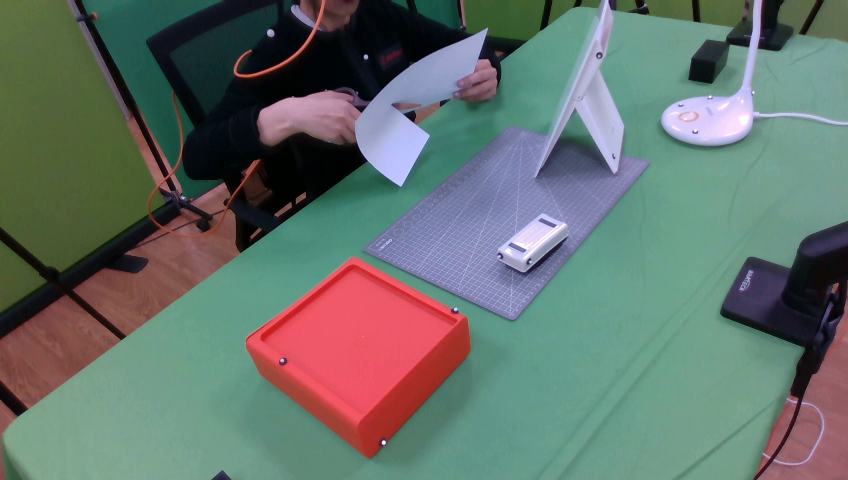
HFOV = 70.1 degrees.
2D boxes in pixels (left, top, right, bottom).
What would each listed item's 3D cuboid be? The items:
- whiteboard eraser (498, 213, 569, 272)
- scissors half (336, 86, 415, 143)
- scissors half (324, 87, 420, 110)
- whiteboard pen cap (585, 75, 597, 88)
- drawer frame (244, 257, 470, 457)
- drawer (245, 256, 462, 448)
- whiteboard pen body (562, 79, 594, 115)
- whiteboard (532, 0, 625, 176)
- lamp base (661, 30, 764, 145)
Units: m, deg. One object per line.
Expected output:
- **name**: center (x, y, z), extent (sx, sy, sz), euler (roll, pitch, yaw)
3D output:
- **whiteboard eraser**: center (0.168, 0.006, 0.923), extent (0.113, 0.042, 0.055), euler (-36, 48, -28)
- **scissors half**: center (-0.084, -0.227, 1.087), extent (0.175, 0.040, 0.013), euler (-39, 11, -12)
- **scissors half**: center (-0.092, -0.251, 1.087), extent (0.176, 0.040, 0.012), euler (2, -4, -15)
- **whiteboard pen cap**: center (0.362, -0.343, 1.310), extent (0.018, 0.018, 0.033), euler (20, 54, 30)
- **drawer frame**: center (-0.084, 0.138, 0.788), extent (0.212, 0.083, 0.202), euler (25, 50, 33)
- **drawer**: center (-0.089, 0.136, 0.792), extent (0.210, 0.073, 0.195), euler (26, 51, 34)
- **whiteboard pen body**: center (0.328, -0.306, 1.277), extent (0.017, 0.017, 0.141), euler (20, 52, 30)
- **whiteboard**: center (0.320, -0.259, 1.050), extent (0.144, 0.306, 0.217), euler (21, 45, 5)
- **lamp base**: center (0.535, -0.287, 1.096), extent (0.179, 0.181, 0.159), euler (-10, 40, -4)
